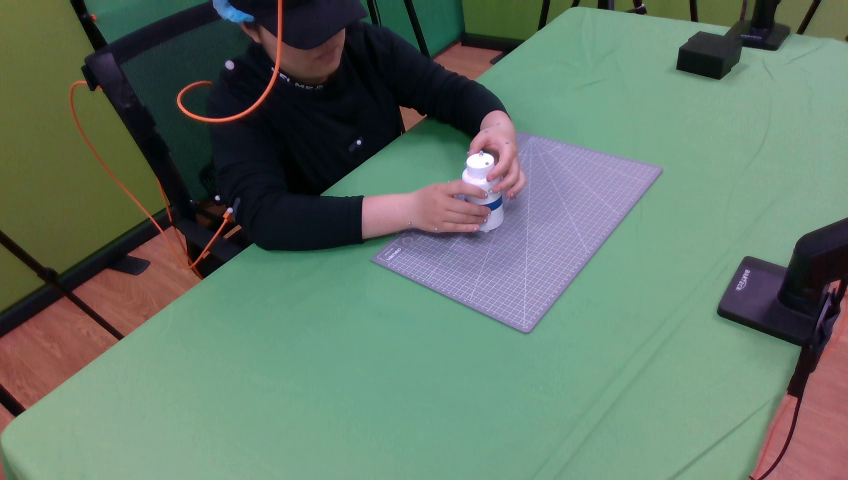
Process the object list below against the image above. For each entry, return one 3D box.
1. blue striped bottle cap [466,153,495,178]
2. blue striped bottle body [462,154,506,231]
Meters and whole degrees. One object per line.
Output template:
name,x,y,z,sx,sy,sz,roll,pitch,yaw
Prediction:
blue striped bottle cap,0.088,-0.117,0.944,0.044,0.021,0.044,-3,38,3
blue striped bottle body,0.096,-0.078,0.976,0.063,0.121,0.063,-8,40,7
